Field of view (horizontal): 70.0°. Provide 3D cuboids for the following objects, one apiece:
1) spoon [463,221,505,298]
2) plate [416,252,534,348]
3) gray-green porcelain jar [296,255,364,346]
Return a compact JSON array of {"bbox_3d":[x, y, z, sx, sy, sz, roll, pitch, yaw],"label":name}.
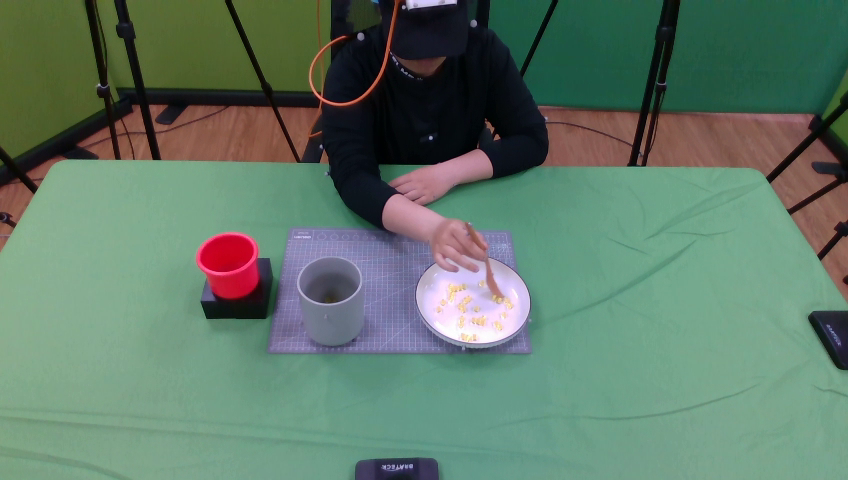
[{"bbox_3d":[0.103,0.036,1.047,0.021,0.195,0.041,-33,38,-12],"label":"spoon"},{"bbox_3d":[0.090,0.109,1.084,0.208,0.039,0.206,2,46,-2],"label":"plate"},{"bbox_3d":[-0.153,0.106,1.008,0.106,0.127,0.105,2,46,-2],"label":"gray-green porcelain jar"}]
